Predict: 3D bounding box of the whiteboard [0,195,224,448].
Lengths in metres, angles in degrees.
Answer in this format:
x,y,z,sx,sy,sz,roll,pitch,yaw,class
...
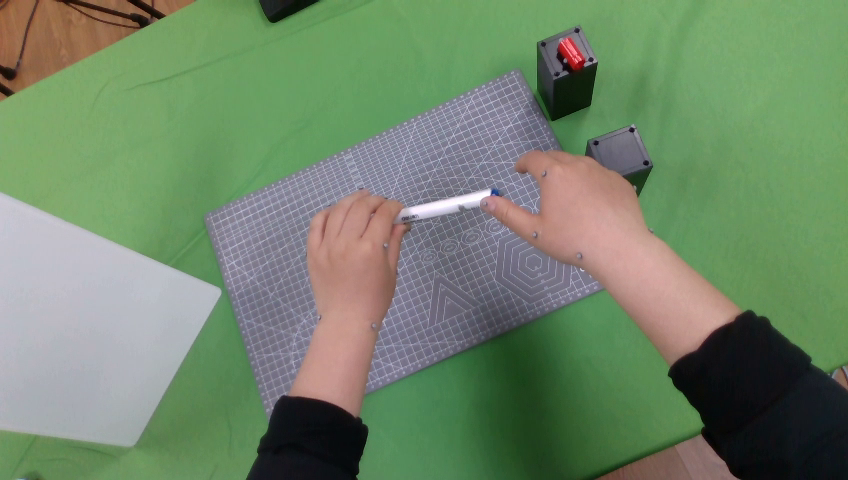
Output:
x,y,z,sx,sy,sz,roll,pitch,yaw,class
-0.423,0.081,0.666,0.142,0.308,0.217,22,80,35,whiteboard

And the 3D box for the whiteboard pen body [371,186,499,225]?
x,y,z,sx,sy,sz,roll,pitch,yaw,class
0.006,-0.029,0.571,0.140,0.017,0.017,-12,72,30,whiteboard pen body

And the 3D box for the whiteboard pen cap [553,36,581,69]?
x,y,z,sx,sy,sz,roll,pitch,yaw,class
0.153,-0.200,0.646,0.017,0.017,0.032,-30,74,2,whiteboard pen cap
